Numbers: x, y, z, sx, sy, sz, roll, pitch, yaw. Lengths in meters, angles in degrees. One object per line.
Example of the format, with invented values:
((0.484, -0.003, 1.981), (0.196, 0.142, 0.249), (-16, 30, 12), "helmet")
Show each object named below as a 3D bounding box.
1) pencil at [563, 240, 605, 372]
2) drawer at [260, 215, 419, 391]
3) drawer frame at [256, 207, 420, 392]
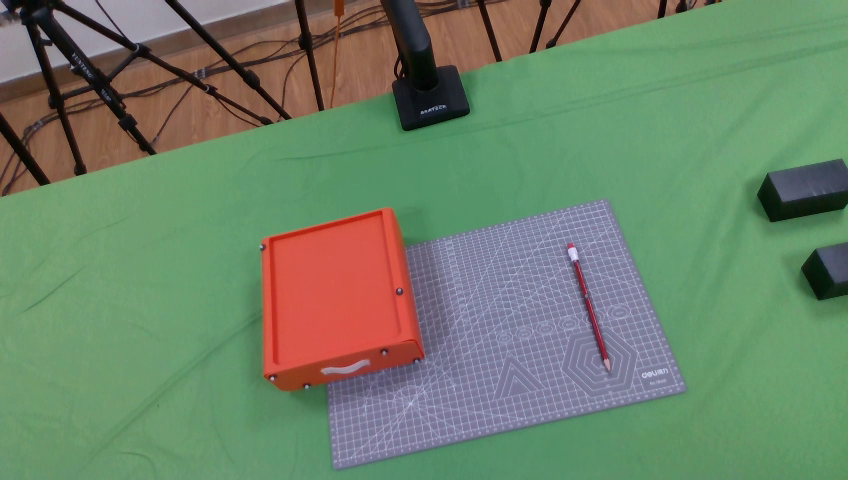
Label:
((0.216, 0.085, 0.816), (0.012, 0.012, 0.192), (-12, 61, 4), "pencil")
((-0.121, 0.084, 0.838), (0.194, 0.074, 0.209), (-14, 57, 4), "drawer")
((-0.124, 0.082, 0.839), (0.201, 0.083, 0.211), (-15, 57, 3), "drawer frame")
